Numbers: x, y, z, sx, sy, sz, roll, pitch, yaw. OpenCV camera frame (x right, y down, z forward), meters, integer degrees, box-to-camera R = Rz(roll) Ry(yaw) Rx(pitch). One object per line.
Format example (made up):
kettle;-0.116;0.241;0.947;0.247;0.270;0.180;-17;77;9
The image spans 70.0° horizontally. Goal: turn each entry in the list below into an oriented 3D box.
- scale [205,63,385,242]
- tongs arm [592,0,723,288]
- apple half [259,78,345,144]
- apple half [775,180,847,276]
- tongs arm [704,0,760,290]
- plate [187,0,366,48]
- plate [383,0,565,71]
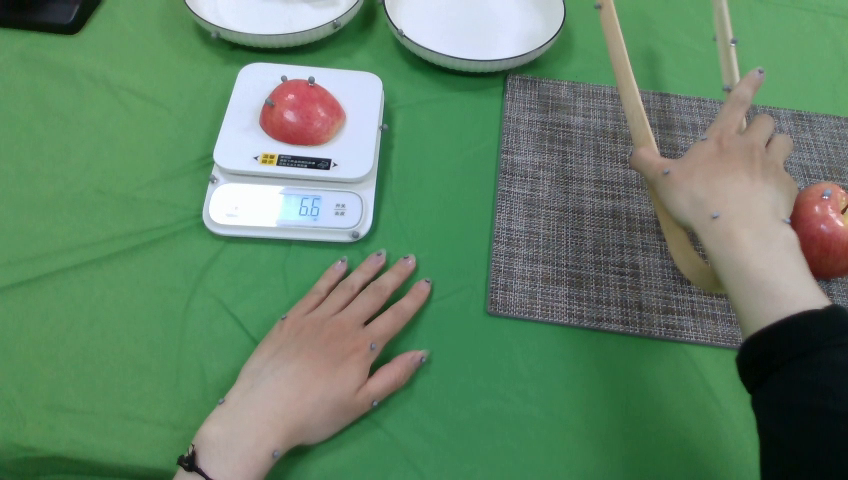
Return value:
scale;-0.117;-0.089;0.577;0.149;0.032;0.199;3;56;-1
tongs arm;0.195;-0.134;0.554;0.028;0.028;0.384;3;59;-13
apple half;-0.113;-0.127;0.566;0.081;0.033;0.080;1;55;-2
apple half;0.337;-0.004;0.519;0.053;0.075;0.080;-26;65;-15
tongs arm;0.267;-0.126;0.561;0.051;0.027;0.381;11;59;-5
plate;-0.167;-0.288;0.704;0.208;0.039;0.205;2;56;-2
plate;0.057;-0.263;0.701;0.209;0.038;0.207;2;56;-2
